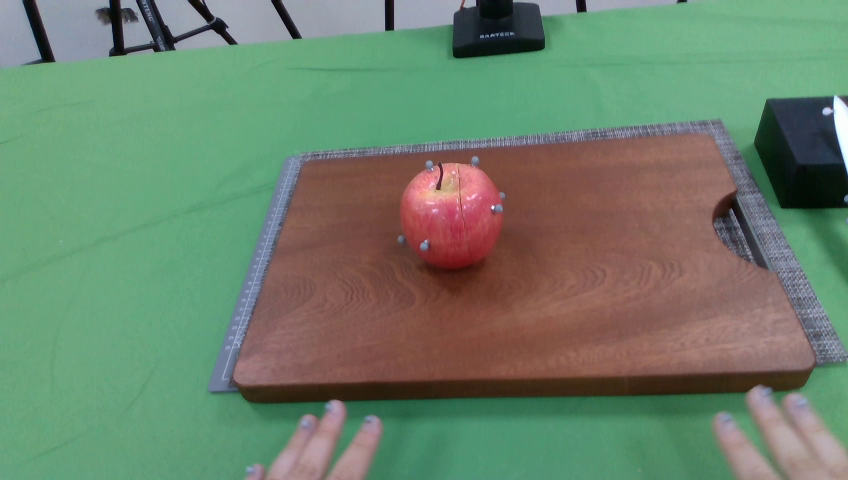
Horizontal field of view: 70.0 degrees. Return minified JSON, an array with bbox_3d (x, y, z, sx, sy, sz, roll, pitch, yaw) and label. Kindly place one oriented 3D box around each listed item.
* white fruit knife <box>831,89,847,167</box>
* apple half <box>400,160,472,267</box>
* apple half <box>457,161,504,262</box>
[{"bbox_3d":[0.349,-0.035,0.475,0.027,0.016,0.205,-2,64,9],"label":"white fruit knife"},{"bbox_3d":[0.009,-0.018,0.481,0.053,0.075,0.080,-9,48,8],"label":"apple half"},{"bbox_3d":[0.047,-0.024,0.477,0.033,0.082,0.080,-9,44,7],"label":"apple half"}]
